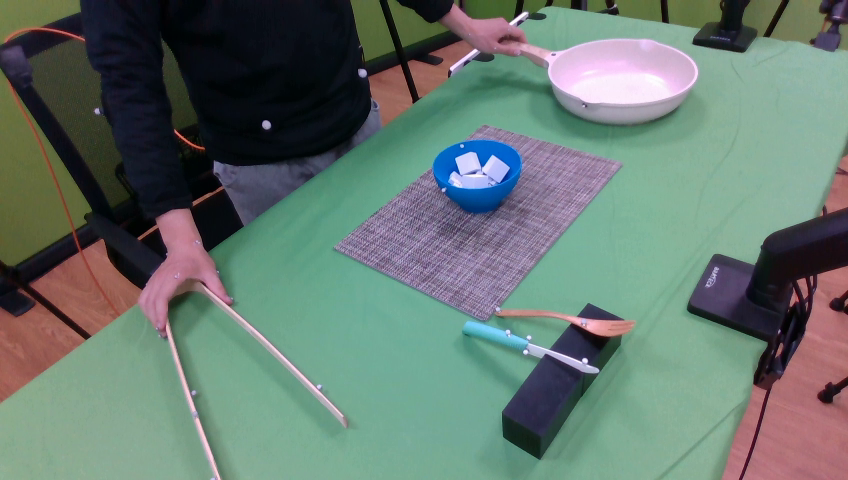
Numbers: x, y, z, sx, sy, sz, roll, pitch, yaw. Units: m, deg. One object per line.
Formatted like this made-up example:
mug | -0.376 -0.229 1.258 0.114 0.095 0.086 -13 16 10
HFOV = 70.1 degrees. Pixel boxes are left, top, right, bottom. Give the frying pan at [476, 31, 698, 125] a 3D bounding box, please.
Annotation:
frying pan | 0.321 -0.371 1.290 0.484 0.103 0.307 29 51 23

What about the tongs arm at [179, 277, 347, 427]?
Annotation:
tongs arm | -0.231 0.141 0.832 0.384 0.028 0.028 30 55 35

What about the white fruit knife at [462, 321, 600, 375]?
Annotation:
white fruit knife | 0.126 0.132 0.752 0.205 0.027 0.016 12 47 42

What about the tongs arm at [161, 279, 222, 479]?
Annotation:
tongs arm | -0.297 0.174 0.797 0.051 0.026 0.381 -25 43 -21

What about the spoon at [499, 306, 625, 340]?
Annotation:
spoon | 0.169 0.102 0.773 0.042 0.021 0.192 -10 13 -38

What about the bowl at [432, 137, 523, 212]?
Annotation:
bowl | 0.091 -0.100 1.022 0.151 0.077 0.150 -4 41 4
